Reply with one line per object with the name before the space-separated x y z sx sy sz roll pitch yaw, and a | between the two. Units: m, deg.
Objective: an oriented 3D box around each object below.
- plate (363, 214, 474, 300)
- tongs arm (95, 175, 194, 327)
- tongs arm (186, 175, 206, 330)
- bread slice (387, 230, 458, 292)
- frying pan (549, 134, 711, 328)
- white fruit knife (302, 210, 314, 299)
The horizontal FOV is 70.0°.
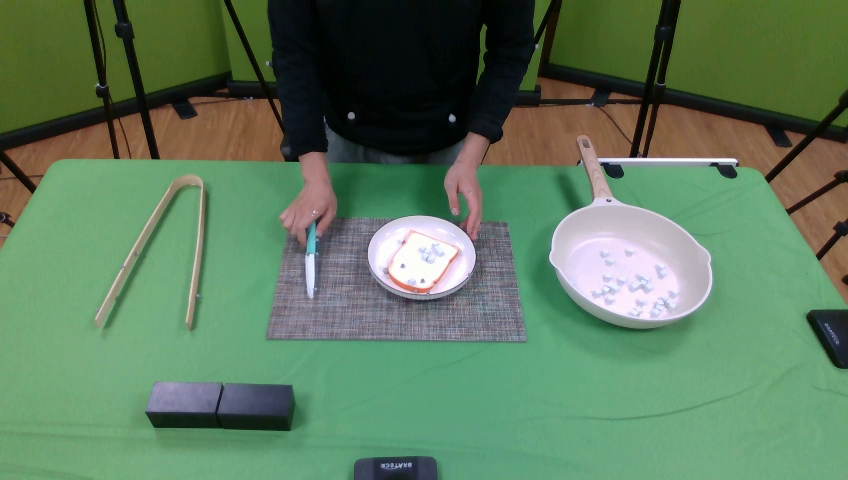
plate | -0.010 0.036 1.146 0.208 0.039 0.206 2 46 -2
tongs arm | -0.516 0.006 1.142 0.051 0.026 0.382 4 45 -2
tongs arm | -0.436 0.009 1.151 0.028 0.028 0.385 -7 47 -8
bread slice | -0.007 0.043 1.142 0.107 0.018 0.134 18 46 14
frying pan | 0.372 -0.035 1.203 0.307 0.103 0.484 -1 55 -6
white fruit knife | -0.216 0.023 1.135 0.027 0.016 0.206 -27 52 23
